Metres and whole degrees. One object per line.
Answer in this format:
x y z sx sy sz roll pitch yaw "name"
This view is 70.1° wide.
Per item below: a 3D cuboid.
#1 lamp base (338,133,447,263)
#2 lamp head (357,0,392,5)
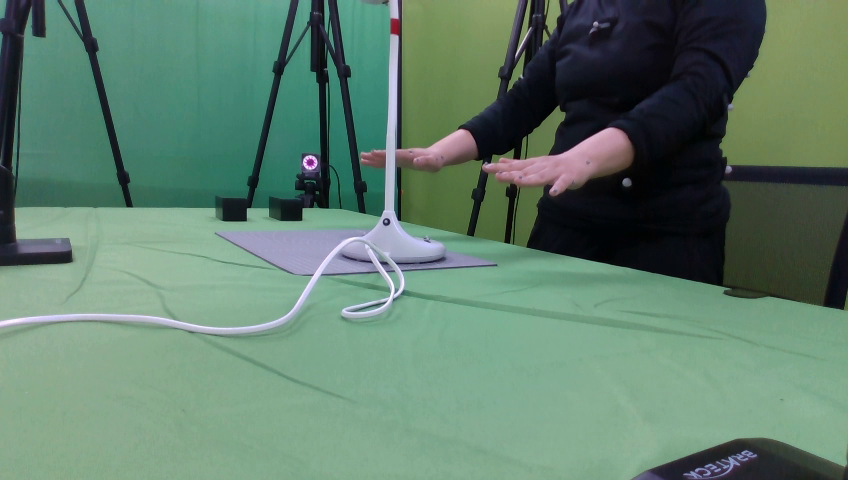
-0.043 -0.062 0.868 0.161 0.180 0.179 2 10 -3 "lamp base"
-0.056 -0.383 0.819 0.113 0.112 0.122 0 13 -22 "lamp head"
